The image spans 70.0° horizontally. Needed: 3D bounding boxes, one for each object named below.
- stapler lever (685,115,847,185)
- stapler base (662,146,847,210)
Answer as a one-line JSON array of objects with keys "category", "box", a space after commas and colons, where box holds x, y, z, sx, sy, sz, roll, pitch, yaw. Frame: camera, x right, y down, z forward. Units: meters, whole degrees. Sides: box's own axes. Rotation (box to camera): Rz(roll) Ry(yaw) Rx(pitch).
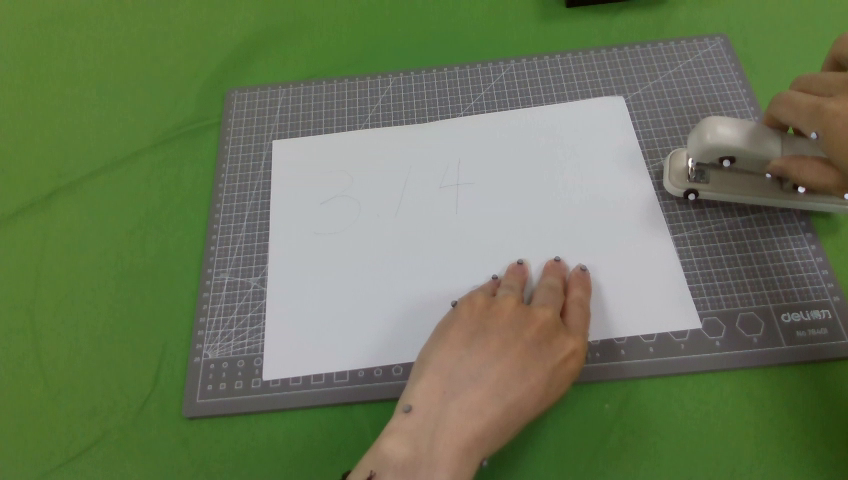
[{"category": "stapler lever", "box": [0.240, -0.061, 0.413, 0.118, 0.040, 0.026, 7, 67, 10]}, {"category": "stapler base", "box": [0.242, -0.050, 0.435, 0.130, 0.024, 0.041, 7, 68, 10]}]
